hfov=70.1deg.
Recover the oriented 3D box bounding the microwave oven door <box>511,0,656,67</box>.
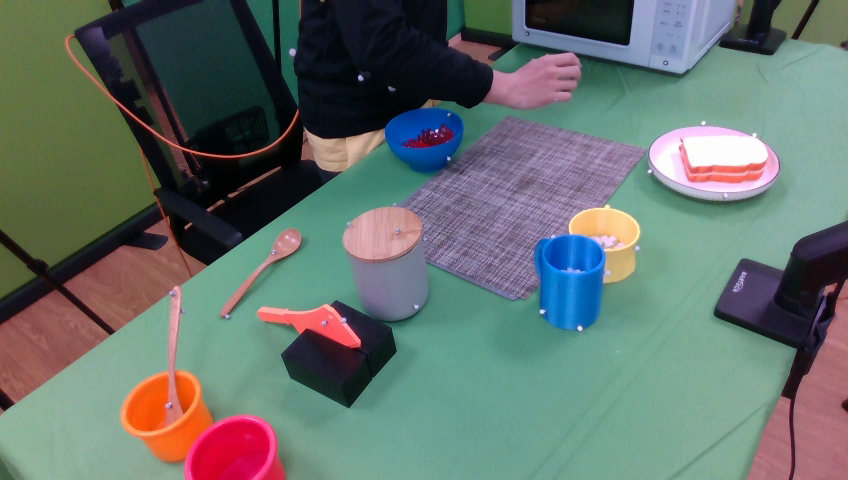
[{"bbox_3d":[0.351,-0.539,1.349,0.353,0.245,0.039,24,50,31],"label":"microwave oven door"}]

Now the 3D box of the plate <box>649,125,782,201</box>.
[{"bbox_3d":[0.493,-0.128,1.036,0.207,0.039,0.206,-4,41,4],"label":"plate"}]

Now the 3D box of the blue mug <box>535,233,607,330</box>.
[{"bbox_3d":[0.191,0.048,0.824,0.082,0.106,0.115,-26,44,-20],"label":"blue mug"}]

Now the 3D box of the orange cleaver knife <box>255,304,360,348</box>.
[{"bbox_3d":[-0.161,0.115,0.813,0.210,0.077,0.012,-5,32,46],"label":"orange cleaver knife"}]

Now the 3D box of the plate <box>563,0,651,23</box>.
[{"bbox_3d":[0.440,-0.573,1.455,0.209,0.038,0.208,-6,42,6],"label":"plate"}]

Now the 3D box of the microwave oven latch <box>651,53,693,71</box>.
[{"bbox_3d":[0.532,-0.386,1.302,0.078,0.029,0.030,27,52,34],"label":"microwave oven latch"}]

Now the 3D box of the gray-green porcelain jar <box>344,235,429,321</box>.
[{"bbox_3d":[-0.049,0.042,0.849,0.106,0.127,0.105,-4,41,4],"label":"gray-green porcelain jar"}]

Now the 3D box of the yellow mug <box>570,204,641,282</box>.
[{"bbox_3d":[0.268,-0.005,0.904,0.099,0.064,0.130,7,42,15],"label":"yellow mug"}]

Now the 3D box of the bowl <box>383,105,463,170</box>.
[{"bbox_3d":[0.002,-0.185,1.143,0.151,0.077,0.150,-4,41,4],"label":"bowl"}]

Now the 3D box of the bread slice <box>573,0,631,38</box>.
[{"bbox_3d":[0.428,-0.557,1.479,0.105,0.019,0.131,-26,70,-19],"label":"bread slice"}]

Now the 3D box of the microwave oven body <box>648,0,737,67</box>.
[{"bbox_3d":[0.475,-0.602,1.411,0.438,0.261,0.327,23,50,32],"label":"microwave oven body"}]

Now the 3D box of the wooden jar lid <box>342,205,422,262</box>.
[{"bbox_3d":[-0.055,-0.006,0.808,0.108,0.021,0.108,-6,41,6],"label":"wooden jar lid"}]

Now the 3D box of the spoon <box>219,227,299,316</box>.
[{"bbox_3d":[-0.261,0.046,0.954,0.041,0.021,0.194,27,48,11],"label":"spoon"}]

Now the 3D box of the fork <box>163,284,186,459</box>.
[{"bbox_3d":[-0.303,0.157,0.733,0.028,0.019,0.207,-3,84,13],"label":"fork"}]

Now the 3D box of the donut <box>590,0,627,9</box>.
[{"bbox_3d":[0.438,-0.586,1.434,0.099,0.048,0.098,-2,53,3],"label":"donut"}]
